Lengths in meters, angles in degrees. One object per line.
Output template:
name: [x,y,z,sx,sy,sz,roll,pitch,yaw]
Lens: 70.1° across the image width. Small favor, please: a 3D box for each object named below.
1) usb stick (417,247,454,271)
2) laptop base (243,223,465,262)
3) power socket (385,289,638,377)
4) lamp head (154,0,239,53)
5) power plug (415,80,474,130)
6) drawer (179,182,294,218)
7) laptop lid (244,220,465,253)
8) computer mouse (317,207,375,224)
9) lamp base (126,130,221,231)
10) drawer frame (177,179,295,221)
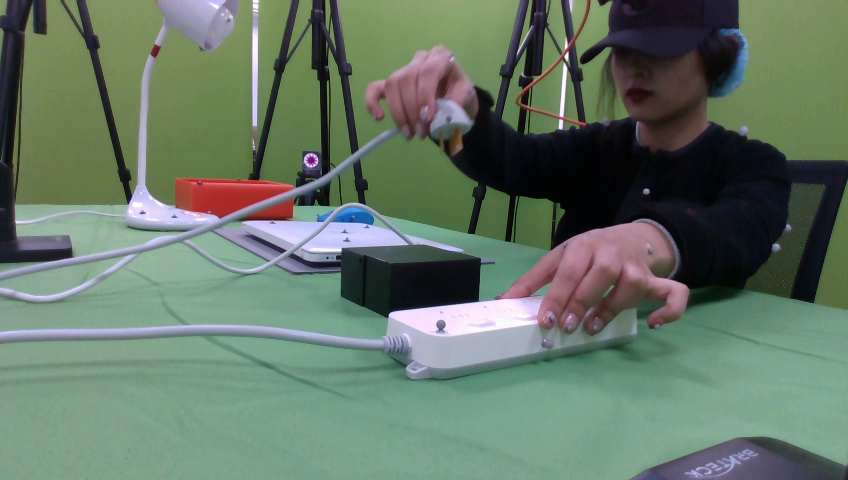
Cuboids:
usb stick: [0.011,0.024,0.756,0.027,0.021,0.059,38,-17,-18]
laptop base: [-0.126,0.003,0.945,0.237,0.023,0.352,2,6,-31]
power socket: [0.074,0.064,0.462,0.228,0.032,0.072,-3,8,-34]
lamp head: [-0.406,-0.402,1.059,0.123,0.112,0.112,25,6,-6]
power plug: [0.014,-0.129,0.533,0.035,0.052,0.072,-14,61,-50]
drawer: [-0.420,-0.091,1.354,0.213,0.073,0.193,-3,10,-31]
laptop lid: [-0.124,-0.009,0.945,0.243,0.013,0.355,1,7,-29]
computer mouse: [-0.163,-0.048,1.264,0.118,0.041,0.062,-6,12,-28]
lamp base: [-0.469,-0.112,1.108,0.179,0.180,0.160,0,7,3]
drawer frame: [-0.422,-0.092,1.352,0.215,0.082,0.200,-3,10,-32]
